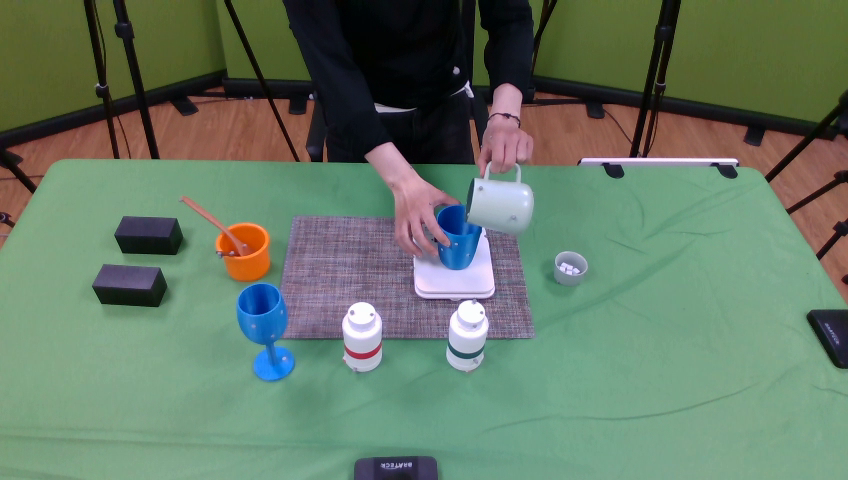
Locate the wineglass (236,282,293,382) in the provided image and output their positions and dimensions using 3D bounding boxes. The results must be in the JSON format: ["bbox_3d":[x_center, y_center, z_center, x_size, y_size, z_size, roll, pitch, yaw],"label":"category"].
[{"bbox_3d":[-0.243,0.143,0.934,0.074,0.173,0.073,2,46,-2],"label":"wineglass"}]

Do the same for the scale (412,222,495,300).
[{"bbox_3d":[0.052,0.031,1.158,0.149,0.032,0.199,1,46,-4],"label":"scale"}]

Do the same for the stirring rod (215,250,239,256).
[{"bbox_3d":[-0.339,0.024,1.059,0.014,0.176,0.006,18,86,-6],"label":"stirring rod"}]

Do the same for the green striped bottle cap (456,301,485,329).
[{"bbox_3d":[0.073,0.116,0.943,0.044,0.020,0.044,3,46,-3],"label":"green striped bottle cap"}]

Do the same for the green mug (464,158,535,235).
[{"bbox_3d":[0.131,-0.077,1.033,0.105,0.125,0.092,10,7,-5],"label":"green mug"}]

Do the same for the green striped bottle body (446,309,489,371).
[{"bbox_3d":[0.070,0.155,0.984,0.063,0.120,0.063,2,45,-2],"label":"green striped bottle body"}]

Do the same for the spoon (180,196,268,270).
[{"bbox_3d":[-0.360,-0.014,1.094,0.021,0.194,0.041,-27,26,31],"label":"spoon"}]

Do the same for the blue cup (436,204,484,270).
[{"bbox_3d":[0.061,0.000,1.098,0.093,0.101,0.092,1,44,-1],"label":"blue cup"}]

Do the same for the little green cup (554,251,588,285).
[{"bbox_3d":[0.277,0.055,1.151,0.061,0.039,0.061,1,46,-1],"label":"little green cup"}]

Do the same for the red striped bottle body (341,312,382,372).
[{"bbox_3d":[-0.100,0.154,0.972,0.063,0.120,0.062,2,46,-2],"label":"red striped bottle body"}]

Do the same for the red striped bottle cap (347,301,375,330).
[{"bbox_3d":[-0.097,0.116,0.934,0.044,0.018,0.044,2,49,-2],"label":"red striped bottle cap"}]
